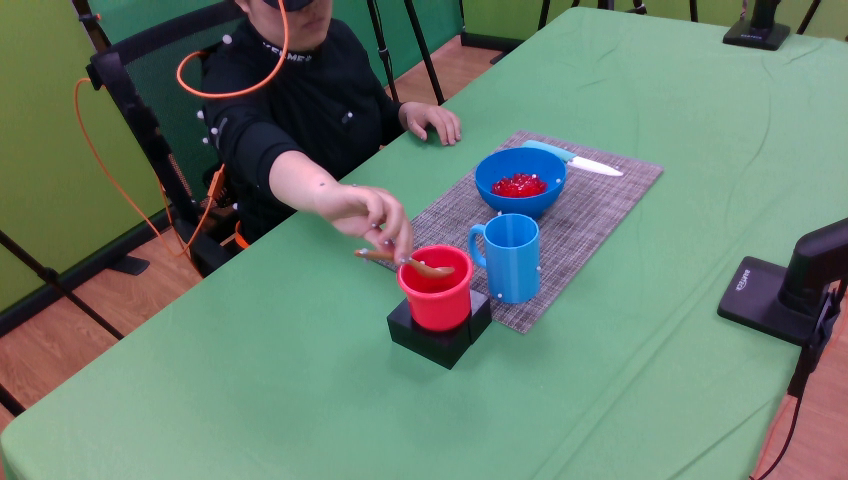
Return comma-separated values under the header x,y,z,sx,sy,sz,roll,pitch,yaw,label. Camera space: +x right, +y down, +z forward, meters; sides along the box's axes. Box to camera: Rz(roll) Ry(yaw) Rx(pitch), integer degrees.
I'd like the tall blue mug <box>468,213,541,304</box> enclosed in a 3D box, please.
x,y,z,sx,sy,sz,roll,pitch,yaw,label
0.111,0.026,0.856,0.107,0.108,0.077,2,42,13,tall blue mug

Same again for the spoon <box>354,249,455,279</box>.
x,y,z,sx,sy,sz,roll,pitch,yaw,label
-0.021,0.026,0.700,0.041,0.195,0.021,2,79,32,spoon

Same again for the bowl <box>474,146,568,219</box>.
x,y,z,sx,sy,sz,roll,pitch,yaw,label
0.161,-0.083,1.000,0.151,0.077,0.150,-5,40,5,bowl

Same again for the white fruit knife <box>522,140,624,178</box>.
x,y,z,sx,sy,sz,roll,pitch,yaw,label
0.270,-0.149,1.110,0.206,0.016,0.027,25,80,32,white fruit knife
